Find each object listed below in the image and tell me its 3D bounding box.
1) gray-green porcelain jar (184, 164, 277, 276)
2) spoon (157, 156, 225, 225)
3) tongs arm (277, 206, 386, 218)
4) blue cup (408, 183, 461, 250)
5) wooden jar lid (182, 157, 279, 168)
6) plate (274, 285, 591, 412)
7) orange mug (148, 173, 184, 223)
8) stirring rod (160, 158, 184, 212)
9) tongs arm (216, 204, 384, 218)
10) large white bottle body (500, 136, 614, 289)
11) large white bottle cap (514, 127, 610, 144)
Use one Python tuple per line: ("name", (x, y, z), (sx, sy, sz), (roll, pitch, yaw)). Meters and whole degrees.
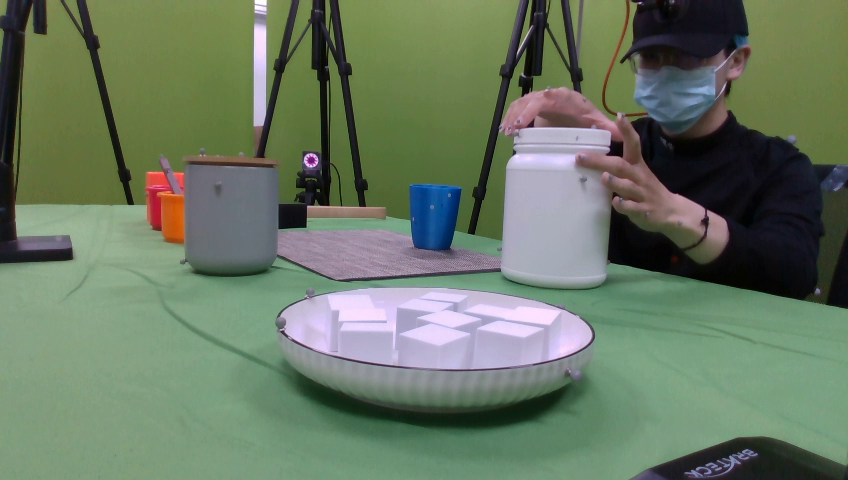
("gray-green porcelain jar", (-0.230, -0.025, 0.722), (0.106, 0.126, 0.106), (3, 7, 0))
("spoon", (-0.425, -0.094, 1.117), (0.041, 0.022, 0.194), (5, 51, 29))
("tongs arm", (-0.251, -0.063, 1.360), (0.387, 0.026, 0.050), (-1, 3, -31))
("blue cup", (0.015, -0.039, 0.969), (0.093, 0.100, 0.092), (2, 9, 0))
("wooden jar lid", (-0.227, -0.086, 0.714), (0.108, 0.020, 0.108), (1, 6, 0))
("plate", (0.005, 0.069, 0.408), (0.208, 0.039, 0.207), (2, 7, 0))
("orange mug", (-0.490, -0.087, 1.222), (0.127, 0.101, 0.083), (-9, 13, -38))
("stirring rod", (-0.391, -0.070, 0.972), (0.014, 0.006, 0.175), (-1, 50, -49))
("tongs arm", (-0.288, -0.068, 1.435), (0.389, 0.027, 0.028), (0, -1, -17))
("large white bottle body", (0.164, -0.042, 0.744), (0.131, 0.184, 0.130), (2, 7, 0))
("large white bottle cap", (0.166, -0.125, 0.733), (0.115, 0.018, 0.115), (2, 8, 0))
